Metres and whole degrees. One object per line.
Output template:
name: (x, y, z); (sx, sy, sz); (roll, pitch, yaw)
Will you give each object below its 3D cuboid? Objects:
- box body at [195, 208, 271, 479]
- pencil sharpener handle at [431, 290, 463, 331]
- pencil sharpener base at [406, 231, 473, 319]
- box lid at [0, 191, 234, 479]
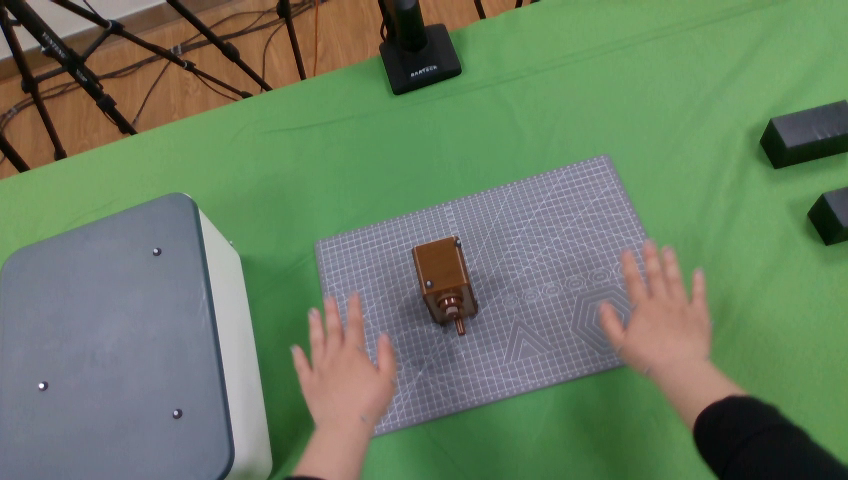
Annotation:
box body: (-0.357, 0.156, 0.762); (0.254, 0.162, 0.360); (-20, 62, 0)
pencil sharpener handle: (0.033, 0.087, 0.738); (0.036, 0.068, 0.030); (-19, 62, 8)
pencil sharpener base: (0.022, 0.050, 0.772); (0.061, 0.108, 0.076); (-16, 62, 2)
box lid: (-0.366, 0.125, 0.690); (0.263, 0.015, 0.368); (-20, 63, -1)
